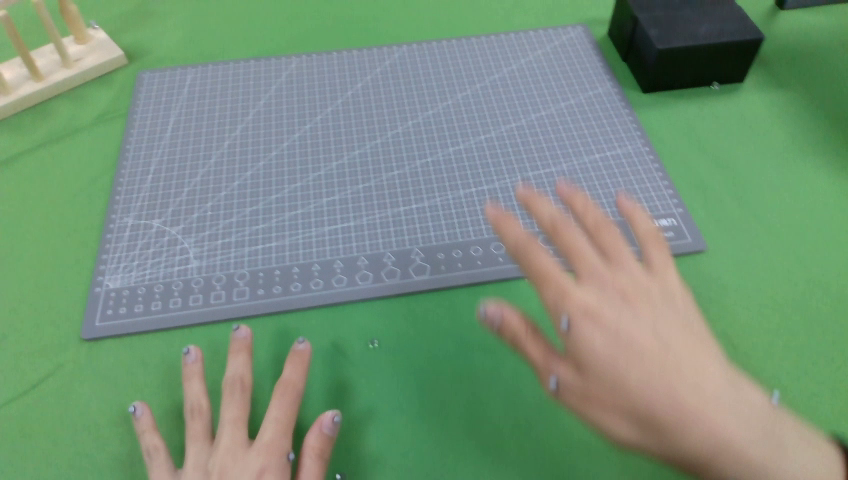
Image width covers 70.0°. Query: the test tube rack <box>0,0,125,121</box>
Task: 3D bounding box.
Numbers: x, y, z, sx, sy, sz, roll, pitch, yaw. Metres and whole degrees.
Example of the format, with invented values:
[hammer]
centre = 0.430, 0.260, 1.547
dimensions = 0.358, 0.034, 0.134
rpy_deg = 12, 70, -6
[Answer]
[test tube rack]
centre = -0.409, -0.154, 0.536
dimensions = 0.242, 0.086, 0.066
rpy_deg = -35, 59, -23
